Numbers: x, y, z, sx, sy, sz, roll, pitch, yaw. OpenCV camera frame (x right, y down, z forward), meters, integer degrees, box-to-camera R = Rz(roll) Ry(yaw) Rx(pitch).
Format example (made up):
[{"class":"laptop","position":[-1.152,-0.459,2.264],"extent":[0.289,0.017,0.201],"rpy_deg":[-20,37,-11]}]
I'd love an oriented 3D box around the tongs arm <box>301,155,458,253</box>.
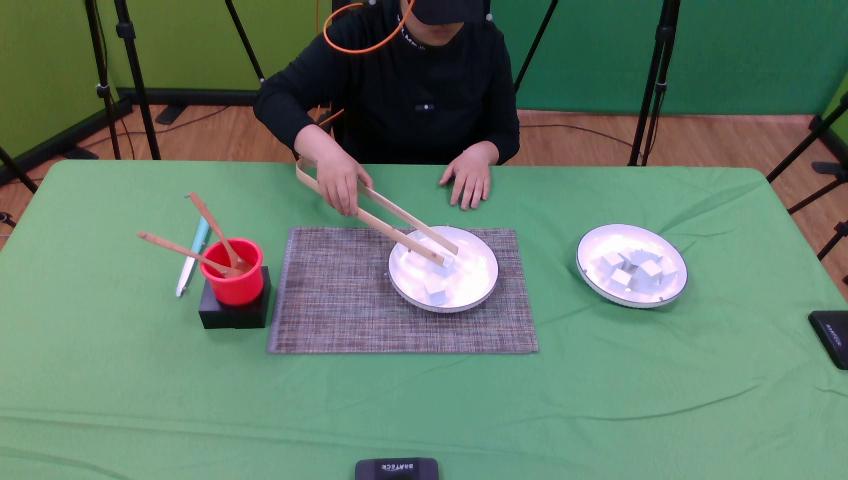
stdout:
[{"class":"tongs arm","position":[-0.093,-0.075,1.192],"extent":[0.386,0.028,0.028],"rpy_deg":[31,53,21]}]

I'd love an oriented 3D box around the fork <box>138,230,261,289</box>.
[{"class":"fork","position":[-0.359,0.032,0.981],"extent":[0.208,0.018,0.028],"rpy_deg":[31,60,-30]}]

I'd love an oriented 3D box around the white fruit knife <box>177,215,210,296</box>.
[{"class":"white fruit knife","position":[-0.435,0.025,1.148],"extent":[0.027,0.016,0.206],"rpy_deg":[-18,45,18]}]

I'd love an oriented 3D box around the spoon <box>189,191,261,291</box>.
[{"class":"spoon","position":[-0.333,0.001,1.012],"extent":[0.041,0.194,0.021],"rpy_deg":[-34,15,-25]}]

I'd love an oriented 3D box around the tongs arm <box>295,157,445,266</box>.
[{"class":"tongs arm","position":[-0.111,-0.061,1.174],"extent":[0.383,0.026,0.050],"rpy_deg":[29,49,19]}]

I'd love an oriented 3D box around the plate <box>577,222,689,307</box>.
[{"class":"plate","position":[0.396,0.050,1.165],"extent":[0.209,0.038,0.208],"rpy_deg":[2,47,-2]}]

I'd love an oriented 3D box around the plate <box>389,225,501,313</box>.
[{"class":"plate","position":[0.038,0.057,1.129],"extent":[0.208,0.039,0.206],"rpy_deg":[2,46,-2]}]
